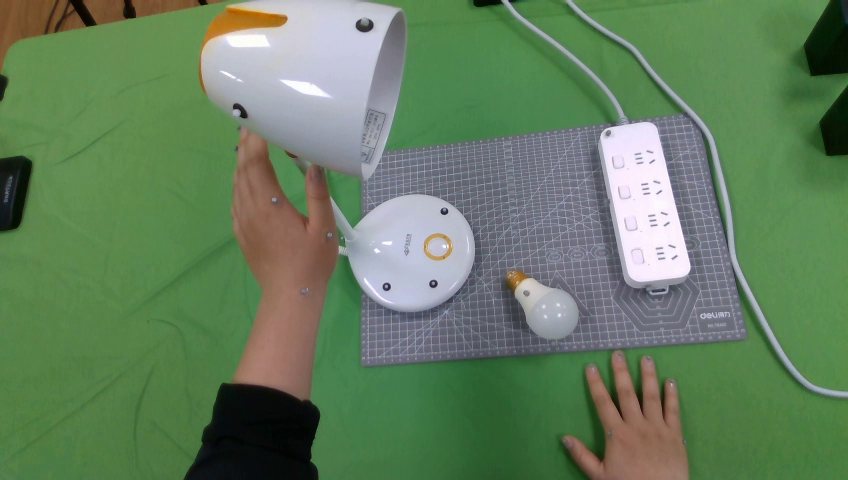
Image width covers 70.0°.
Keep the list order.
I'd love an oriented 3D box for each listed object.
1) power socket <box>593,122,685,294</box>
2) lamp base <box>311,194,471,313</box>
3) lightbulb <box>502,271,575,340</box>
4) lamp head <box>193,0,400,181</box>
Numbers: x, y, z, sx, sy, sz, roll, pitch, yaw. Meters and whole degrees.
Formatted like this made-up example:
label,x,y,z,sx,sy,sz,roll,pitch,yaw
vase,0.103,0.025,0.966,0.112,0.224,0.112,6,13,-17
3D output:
label,x,y,z,sx,sy,sz,roll,pitch,yaw
power socket,0.260,-0.046,0.741,0.072,0.033,0.225,-7,68,7
lamp base,-0.046,-0.010,0.704,0.179,0.182,0.159,-9,68,10
lightbulb,0.130,0.072,0.712,0.059,0.060,0.106,-41,52,-6
lamp head,-0.084,-0.104,0.401,0.123,0.113,0.112,12,72,7
